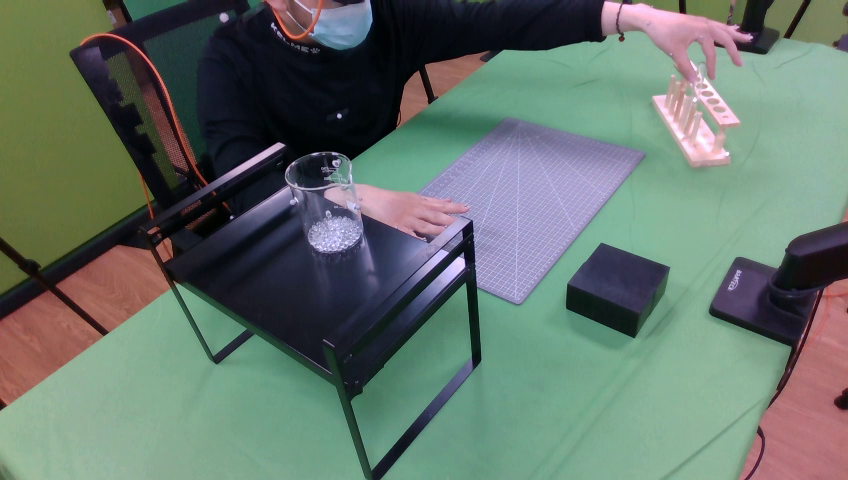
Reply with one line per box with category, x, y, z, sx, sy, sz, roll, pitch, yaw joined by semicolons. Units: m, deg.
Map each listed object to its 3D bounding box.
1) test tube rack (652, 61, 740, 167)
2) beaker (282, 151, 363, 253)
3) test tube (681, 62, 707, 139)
test tube rack;0.499;-0.241;1.129;0.067;0.085;0.241;-5;41;3
beaker;-0.110;-0.041;0.697;0.083;0.101;0.074;18;48;26
test tube;0.476;-0.244;1.068;0.017;0.151;0.017;-3;42;3
